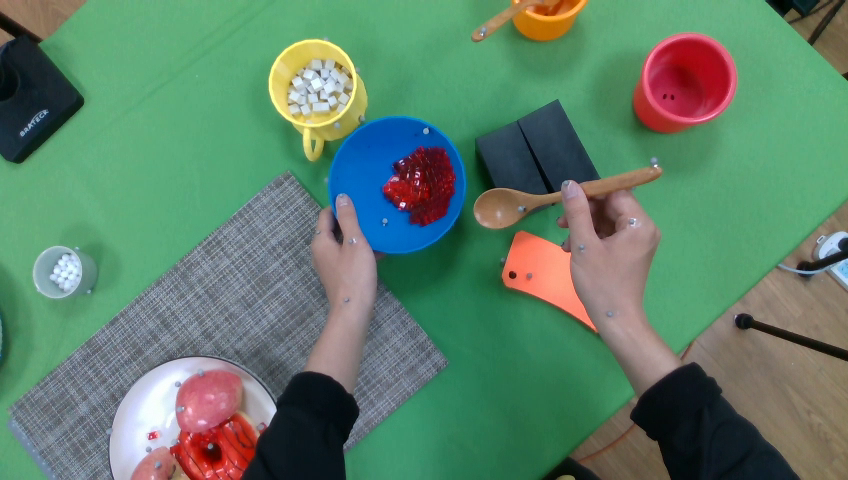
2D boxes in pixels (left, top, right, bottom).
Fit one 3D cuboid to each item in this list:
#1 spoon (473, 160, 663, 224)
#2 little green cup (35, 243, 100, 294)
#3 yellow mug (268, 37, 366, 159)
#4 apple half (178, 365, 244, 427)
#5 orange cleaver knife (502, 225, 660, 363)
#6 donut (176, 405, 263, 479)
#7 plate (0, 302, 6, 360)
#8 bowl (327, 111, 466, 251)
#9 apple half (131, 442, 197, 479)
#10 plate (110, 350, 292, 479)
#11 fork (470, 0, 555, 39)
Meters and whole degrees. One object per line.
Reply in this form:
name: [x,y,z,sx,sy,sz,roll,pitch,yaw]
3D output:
spoon: [0.121,-0.043,0.545,0.021,0.193,0.042,-27,102,-40]
little green cup: [-0.423,0.035,0.724,0.061,0.039,0.061,0,86,5]
yellow mug: [-0.123,-0.159,0.700,0.100,0.064,0.130,6,88,4]
apple half: [-0.241,0.165,0.674,0.081,0.033,0.080,-9,45,9]
orange cleaver knife: [0.183,0.060,0.689,0.211,0.012,0.077,33,85,7]
donut: [-0.231,0.231,0.685,0.099,0.048,0.099,0,91,3]
plate: [-0.601,0.114,0.733,0.207,0.039,0.207,0,87,4]
bowl: [-0.027,-0.061,0.682,0.151,0.077,0.151,0,88,4]
apple half: [-0.292,0.272,0.666,0.080,0.053,0.075,53,132,7]
plate: [-0.252,0.229,0.697,0.209,0.038,0.208,0,87,4]
fork: [0.104,-0.251,0.647,0.028,0.019,0.207,42,47,5]
